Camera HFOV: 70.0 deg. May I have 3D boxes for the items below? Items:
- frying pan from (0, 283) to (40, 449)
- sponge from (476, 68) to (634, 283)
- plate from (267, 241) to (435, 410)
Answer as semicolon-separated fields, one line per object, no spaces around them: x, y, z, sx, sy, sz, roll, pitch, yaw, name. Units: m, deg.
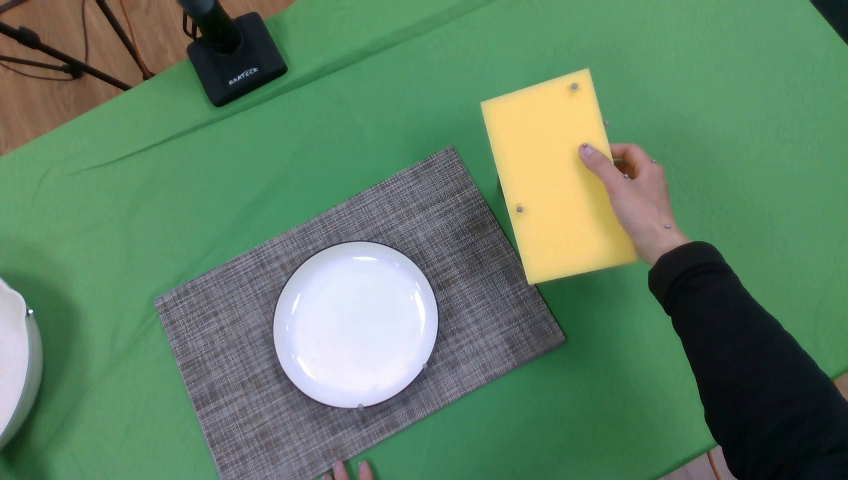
-0.568;0.249;0.732;0.307;0.103;0.483;-36;66;-3;frying pan
0.144;-0.067;0.664;0.118;0.061;0.206;-16;90;16;sponge
-0.089;0.106;0.753;0.207;0.039;0.206;-1;75;5;plate
